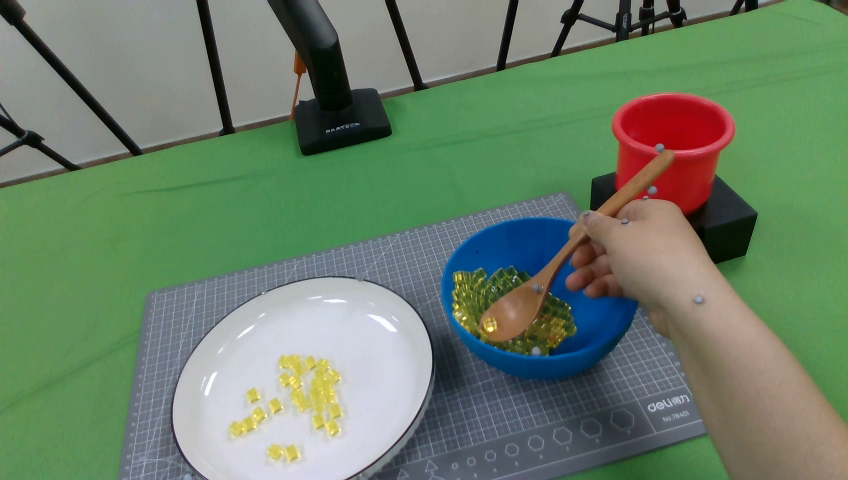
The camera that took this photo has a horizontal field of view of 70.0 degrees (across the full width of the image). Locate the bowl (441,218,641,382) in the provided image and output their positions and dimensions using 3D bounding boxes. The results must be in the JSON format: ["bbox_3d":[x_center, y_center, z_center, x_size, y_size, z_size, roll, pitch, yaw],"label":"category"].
[{"bbox_3d":[0.092,0.060,0.487,0.151,0.077,0.150,-5,42,5],"label":"bowl"}]

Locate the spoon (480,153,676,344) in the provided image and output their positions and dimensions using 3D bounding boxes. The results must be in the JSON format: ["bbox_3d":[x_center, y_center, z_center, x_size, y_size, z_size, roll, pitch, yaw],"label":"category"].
[{"bbox_3d":[0.113,0.008,0.450,0.194,0.022,0.041,-49,33,14],"label":"spoon"}]

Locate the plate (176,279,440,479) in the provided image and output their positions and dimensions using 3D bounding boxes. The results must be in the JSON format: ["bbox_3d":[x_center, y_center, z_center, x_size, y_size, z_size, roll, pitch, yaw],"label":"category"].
[{"bbox_3d":[-0.089,0.117,0.489,0.207,0.039,0.205,-5,42,5],"label":"plate"}]
